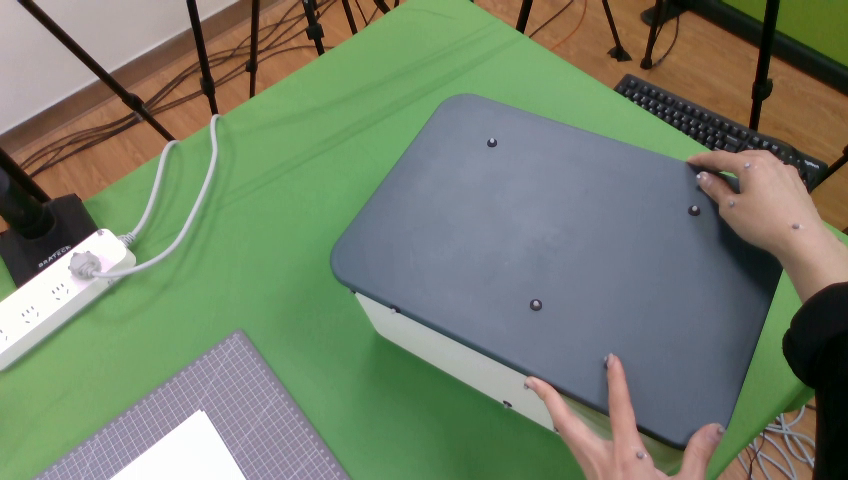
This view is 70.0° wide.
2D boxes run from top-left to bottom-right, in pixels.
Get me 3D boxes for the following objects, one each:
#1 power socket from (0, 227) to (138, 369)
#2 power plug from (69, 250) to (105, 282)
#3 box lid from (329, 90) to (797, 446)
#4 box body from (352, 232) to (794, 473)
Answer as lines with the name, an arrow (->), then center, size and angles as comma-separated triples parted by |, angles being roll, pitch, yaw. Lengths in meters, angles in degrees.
power socket -> -0.468, 0.070, 0.766 | 0.071, 0.033, 0.226 | 38, 69, 26
power plug -> -0.413, 0.042, 0.750 | 0.035, 0.053, 0.072 | -33, 65, -14
box lid -> 0.119, -0.006, 0.559 | 0.369, 0.015, 0.262 | 23, 64, 21
box body -> 0.132, 0.039, 0.625 | 0.361, 0.162, 0.253 | 24, 64, 22
